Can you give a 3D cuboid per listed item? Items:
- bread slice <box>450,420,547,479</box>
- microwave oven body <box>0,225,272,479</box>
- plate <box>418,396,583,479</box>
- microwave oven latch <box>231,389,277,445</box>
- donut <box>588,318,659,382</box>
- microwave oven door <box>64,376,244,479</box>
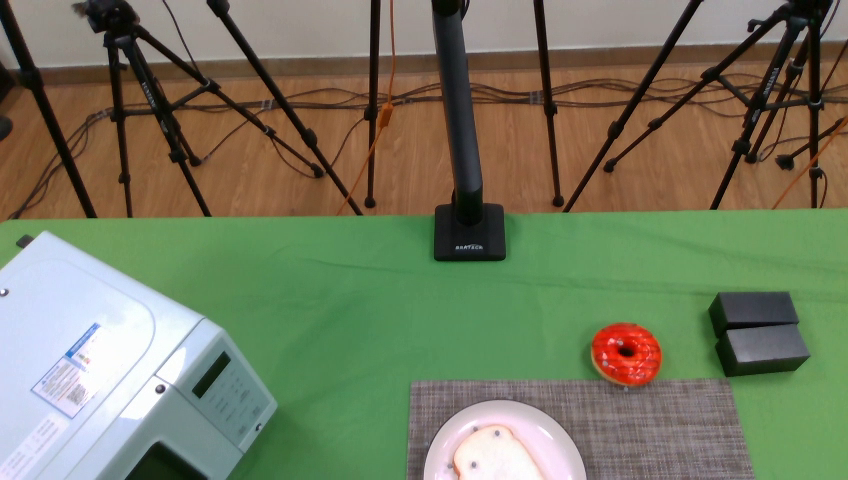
[{"bbox_3d":[0.094,0.300,0.783,0.105,0.019,0.130,-26,57,-14],"label":"bread slice"},{"bbox_3d":[-0.458,0.257,0.717,0.324,0.262,0.440,23,61,19],"label":"microwave oven body"},{"bbox_3d":[0.097,0.305,0.778,0.207,0.039,0.205,-2,55,3],"label":"plate"},{"bbox_3d":[-0.235,0.238,0.832,0.030,0.030,0.079,25,61,20],"label":"microwave oven latch"},{"bbox_3d":[0.285,0.157,0.867,0.099,0.049,0.098,-4,51,6],"label":"donut"},{"bbox_3d":[-0.352,0.338,0.646,0.039,0.246,0.354,23,60,20],"label":"microwave oven door"}]
